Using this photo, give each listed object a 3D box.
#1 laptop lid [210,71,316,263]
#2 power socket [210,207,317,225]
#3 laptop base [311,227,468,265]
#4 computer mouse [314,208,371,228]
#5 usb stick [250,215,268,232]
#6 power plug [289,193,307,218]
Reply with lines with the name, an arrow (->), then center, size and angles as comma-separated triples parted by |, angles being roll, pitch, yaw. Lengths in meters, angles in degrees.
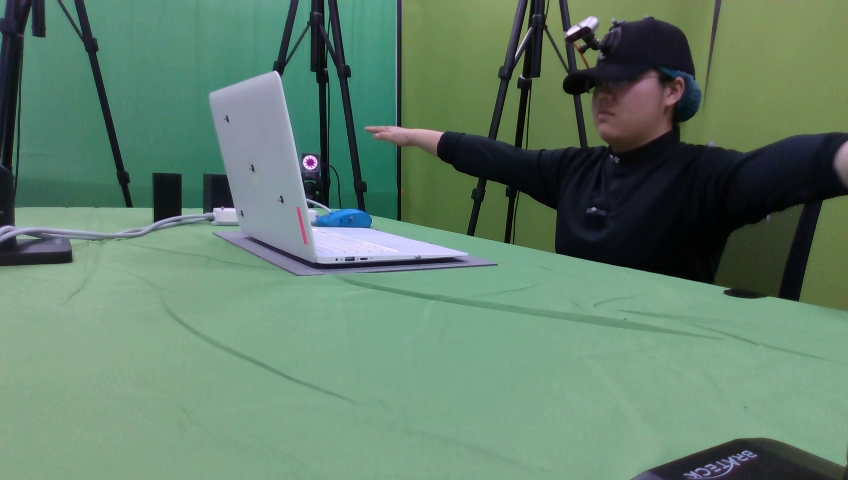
laptop lid -> -0.241, -0.104, 0.861 | 0.013, 0.241, 0.355 | -16, 17, -29
power socket -> -0.335, -0.051, 1.281 | 0.228, 0.032, 0.072 | -1, 8, -28
laptop base -> -0.123, 0.007, 0.952 | 0.237, 0.023, 0.352 | 2, 6, -32
computer mouse -> -0.173, -0.046, 1.284 | 0.118, 0.041, 0.062 | -7, 13, -30
usb stick -> -0.290, -0.028, 1.069 | 0.021, 0.027, 0.059 | -1, 11, -30
power plug -> -0.281, -0.076, 1.340 | 0.035, 0.052, 0.072 | 3, 7, -17
